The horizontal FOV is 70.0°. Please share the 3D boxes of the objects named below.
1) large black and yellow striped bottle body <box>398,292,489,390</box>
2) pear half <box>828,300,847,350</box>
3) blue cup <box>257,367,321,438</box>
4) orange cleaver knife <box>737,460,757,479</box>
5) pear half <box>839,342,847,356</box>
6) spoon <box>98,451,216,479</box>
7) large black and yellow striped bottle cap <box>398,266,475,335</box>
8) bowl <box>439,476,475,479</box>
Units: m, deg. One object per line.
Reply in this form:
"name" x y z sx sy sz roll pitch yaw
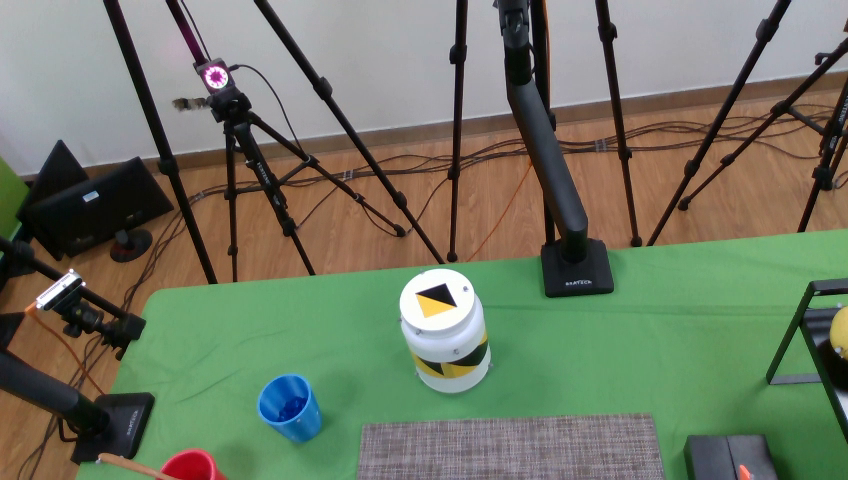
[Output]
"large black and yellow striped bottle body" 0.032 0.143 0.970 0.130 0.186 0.129 -6 49 8
"pear half" 0.504 0.093 0.722 0.031 0.089 0.070 25 62 29
"blue cup" -0.209 0.271 0.970 0.092 0.101 0.091 -5 50 7
"orange cleaver knife" 0.406 0.380 0.734 0.012 0.077 0.210 -6 84 7
"pear half" 0.529 0.100 0.697 0.055 0.111 0.076 24 63 29
"spoon" -0.393 0.354 0.914 0.195 0.021 0.041 31 49 -18
"large black and yellow striped bottle cap" 0.019 0.089 0.906 0.115 0.019 0.114 -7 49 9
"bowl" 0.048 0.403 0.806 0.151 0.077 0.150 -7 49 8
